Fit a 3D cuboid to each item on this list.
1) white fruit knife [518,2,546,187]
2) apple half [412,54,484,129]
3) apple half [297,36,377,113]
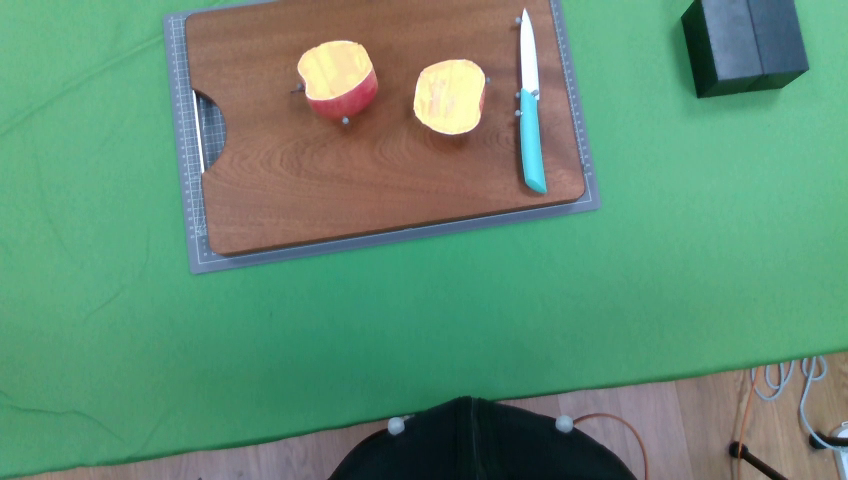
[{"bbox_3d":[0.112,-0.159,0.649,0.027,0.016,0.206,2,80,-29],"label":"white fruit knife"},{"bbox_3d":[0.027,-0.154,0.638,0.081,0.033,0.081,0,92,12],"label":"apple half"},{"bbox_3d":[-0.086,-0.165,0.625,0.074,0.054,0.080,-27,59,-2],"label":"apple half"}]
